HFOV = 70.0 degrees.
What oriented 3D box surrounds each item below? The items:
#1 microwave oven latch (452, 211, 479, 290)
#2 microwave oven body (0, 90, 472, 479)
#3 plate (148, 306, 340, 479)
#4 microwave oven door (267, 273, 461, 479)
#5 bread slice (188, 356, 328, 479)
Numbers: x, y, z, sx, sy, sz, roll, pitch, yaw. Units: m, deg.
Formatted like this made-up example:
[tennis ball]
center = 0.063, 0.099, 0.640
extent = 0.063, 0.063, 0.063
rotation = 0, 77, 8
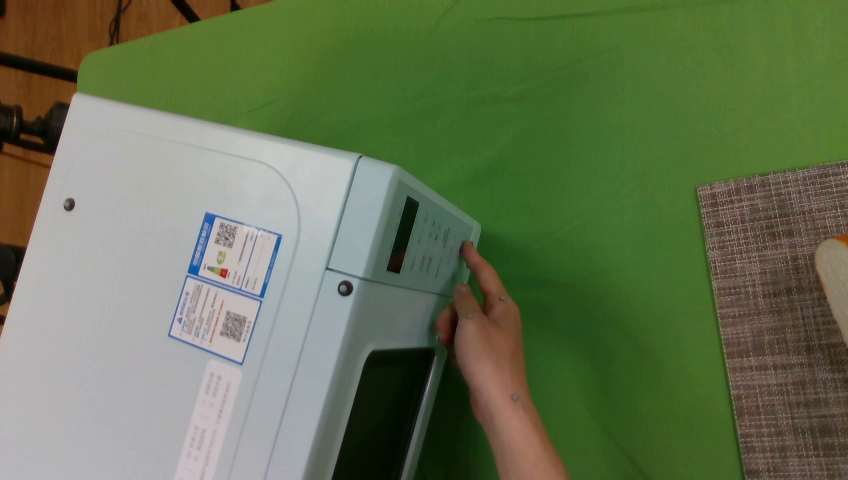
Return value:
[microwave oven latch]
center = 0.031, 0.009, 0.601
extent = 0.030, 0.030, 0.079
rotation = 17, 89, 20
[microwave oven body]
center = -0.182, 0.132, 0.556
extent = 0.324, 0.262, 0.441
rotation = 15, 88, 20
[plate]
center = -0.176, 0.170, 0.605
extent = 0.207, 0.039, 0.207
rotation = -2, 81, 16
[microwave oven door]
center = -0.063, 0.205, 0.500
extent = 0.039, 0.245, 0.355
rotation = 15, 88, 21
[bread slice]
center = -0.169, 0.196, 0.603
extent = 0.134, 0.018, 0.106
rotation = -33, 74, 4
